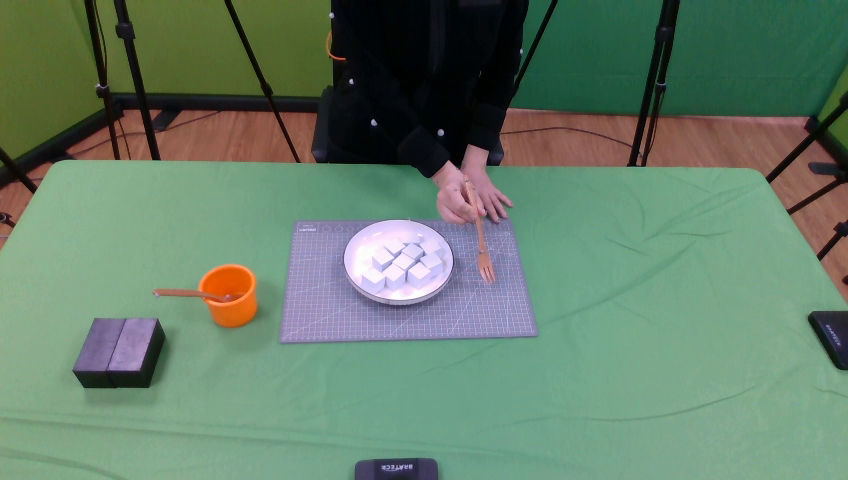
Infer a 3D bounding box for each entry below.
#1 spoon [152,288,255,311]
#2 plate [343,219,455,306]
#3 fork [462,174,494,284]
[{"bbox_3d":[-0.356,0.092,0.992,0.021,0.195,0.041,-47,59,13],"label":"spoon"},{"bbox_3d":[-0.047,0.045,1.136,0.208,0.039,0.206,2,46,-2],"label":"plate"},{"bbox_3d":[0.097,-0.020,1.111,0.028,0.207,0.018,-15,8,-23],"label":"fork"}]
